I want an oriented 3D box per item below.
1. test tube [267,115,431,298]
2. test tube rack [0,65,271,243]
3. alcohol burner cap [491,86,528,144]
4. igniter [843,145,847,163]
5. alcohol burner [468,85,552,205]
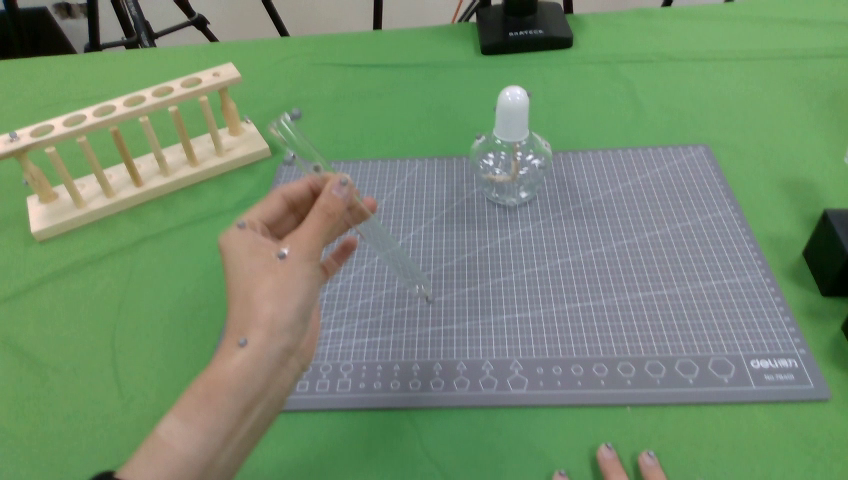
[{"bbox_3d":[-0.043,-0.016,0.383,0.017,0.151,0.017,-32,25,17],"label":"test tube"},{"bbox_3d":[-0.292,-0.092,0.622,0.242,0.086,0.066,-24,47,-18],"label":"test tube rack"},{"bbox_3d":[0.077,-0.113,0.536,0.034,0.048,0.033,-1,44,1],"label":"alcohol burner cap"},{"bbox_3d":[0.360,0.015,0.419,0.057,0.025,0.274,-1,43,10],"label":"igniter"},{"bbox_3d":[0.079,-0.090,0.557,0.078,0.120,0.077,-2,46,2],"label":"alcohol burner"}]
